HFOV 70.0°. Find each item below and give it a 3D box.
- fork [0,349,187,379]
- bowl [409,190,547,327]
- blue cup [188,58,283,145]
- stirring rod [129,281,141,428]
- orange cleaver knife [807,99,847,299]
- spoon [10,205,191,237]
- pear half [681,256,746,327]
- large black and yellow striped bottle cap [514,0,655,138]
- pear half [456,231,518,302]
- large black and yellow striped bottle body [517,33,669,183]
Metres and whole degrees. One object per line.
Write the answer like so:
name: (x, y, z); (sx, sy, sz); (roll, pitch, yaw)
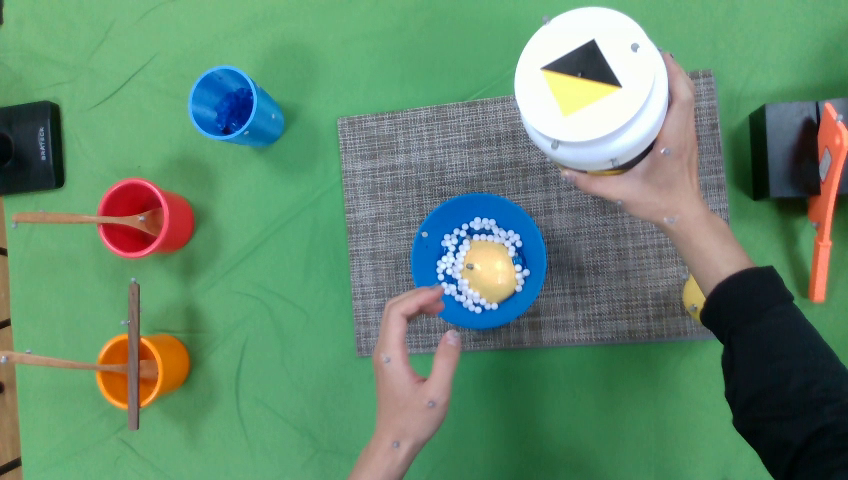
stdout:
fork: (-0.397, 0.149, 0.735); (0.209, 0.018, 0.028); (14, 101, -34)
bowl: (0.064, 0.021, 0.695); (0.151, 0.077, 0.151); (0, 89, 10)
blue cup: (-0.220, -0.156, 0.737); (0.092, 0.100, 0.092); (0, 89, 12)
stirring rod: (-0.346, 0.137, 0.726); (0.014, 0.006, 0.176); (0, 89, 6)
orange cleaver knife: (0.420, -0.039, 0.639); (0.012, 0.077, 0.213); (-3, 117, 15)
spoon: (-0.389, -0.027, 0.741); (0.195, 0.021, 0.041); (2, 91, -34)
pear half: (0.305, 0.058, 0.639); (0.056, 0.110, 0.076); (-25, 81, 9)
large black and yellow striped bottle cap: (0.133, -0.144, 0.509); (0.114, 0.019, 0.114); (-2, 84, 24)
pear half: (0.068, 0.027, 0.688); (0.070, 0.031, 0.087); (-31, 80, 5)
large black and yellow striped bottle body: (0.165, -0.136, 0.587); (0.130, 0.185, 0.130); (-3, 83, 23)
